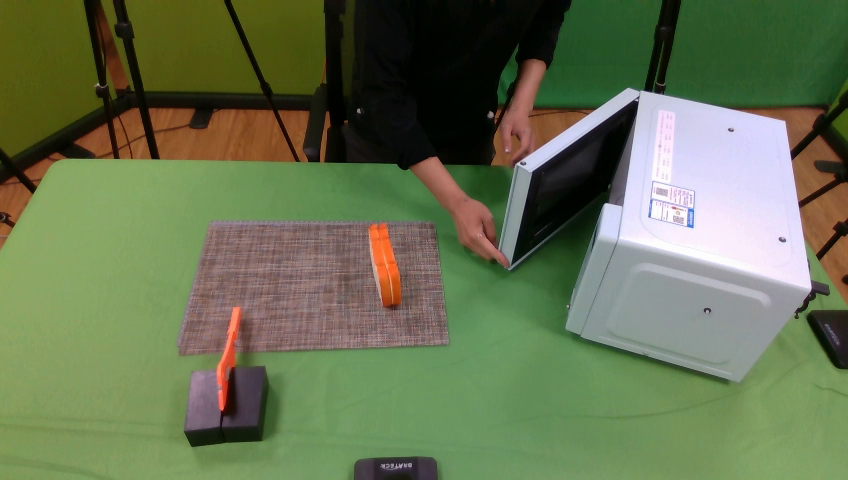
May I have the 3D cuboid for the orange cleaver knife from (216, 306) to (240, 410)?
[{"bbox_3d":[-0.307,0.180,0.957,0.012,0.077,0.210,-2,25,-8],"label":"orange cleaver knife"}]

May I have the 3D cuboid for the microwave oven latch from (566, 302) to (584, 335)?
[{"bbox_3d":[0.268,0.126,1.059,0.030,0.029,0.079,16,46,12],"label":"microwave oven latch"}]

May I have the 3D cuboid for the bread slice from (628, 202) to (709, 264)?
[{"bbox_3d":[0.476,-0.020,1.169,0.134,0.018,0.106,-30,58,-18],"label":"bread slice"}]

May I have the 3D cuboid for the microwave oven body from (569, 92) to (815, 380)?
[{"bbox_3d":[0.468,-0.022,1.082,0.325,0.261,0.440,15,46,11],"label":"microwave oven body"}]

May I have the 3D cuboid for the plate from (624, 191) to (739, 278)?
[{"bbox_3d":[0.483,-0.007,1.149,0.208,0.039,0.206,0,50,0],"label":"plate"}]

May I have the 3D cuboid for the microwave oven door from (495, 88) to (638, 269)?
[{"bbox_3d":[0.277,-0.122,1.158,0.039,0.245,0.355,37,54,27],"label":"microwave oven door"}]
